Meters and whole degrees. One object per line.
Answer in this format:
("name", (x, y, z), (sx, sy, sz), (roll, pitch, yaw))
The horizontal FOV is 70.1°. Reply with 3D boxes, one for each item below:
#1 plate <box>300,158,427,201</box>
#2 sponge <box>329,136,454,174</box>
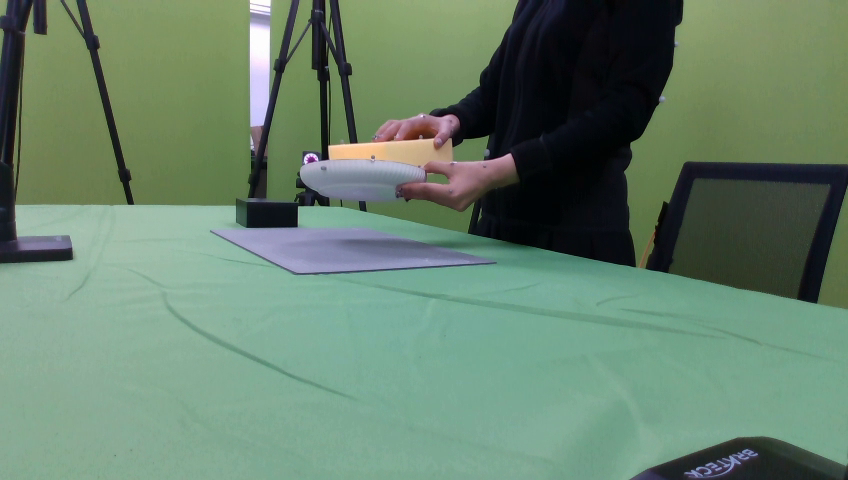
("plate", (-0.098, -0.094, 0.989), (0.209, 0.038, 0.209), (0, -5, 0))
("sponge", (-0.050, -0.139, 1.031), (0.118, 0.061, 0.208), (2, 12, 31))
